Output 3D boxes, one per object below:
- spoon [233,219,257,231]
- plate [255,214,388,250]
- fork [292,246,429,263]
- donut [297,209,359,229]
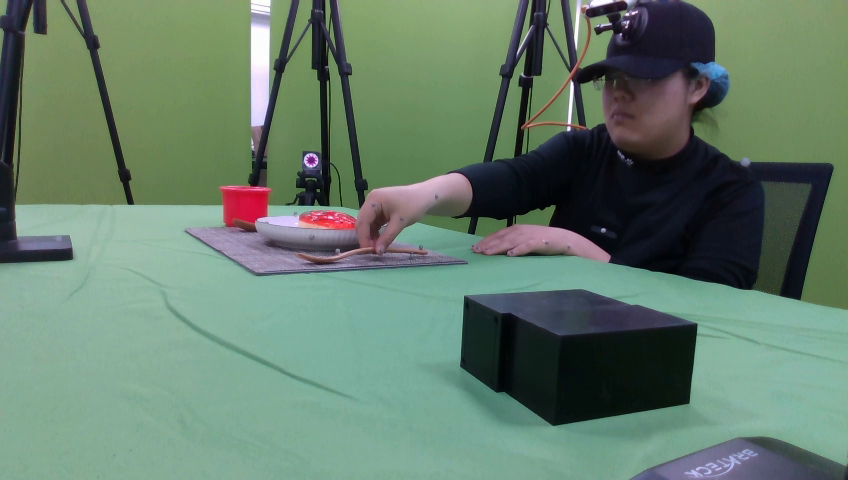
[{"bbox_3d":[-0.250,-0.028,1.108,0.195,0.021,0.041,-2,-9,-29],"label":"spoon"},{"bbox_3d":[-0.161,-0.013,0.961,0.209,0.038,0.209,2,7,0],"label":"plate"},{"bbox_3d":[-0.078,0.019,0.815,0.208,0.018,0.028,-4,-3,-36],"label":"fork"},{"bbox_3d":[-0.151,-0.023,0.955,0.099,0.048,0.099,6,7,0],"label":"donut"}]
